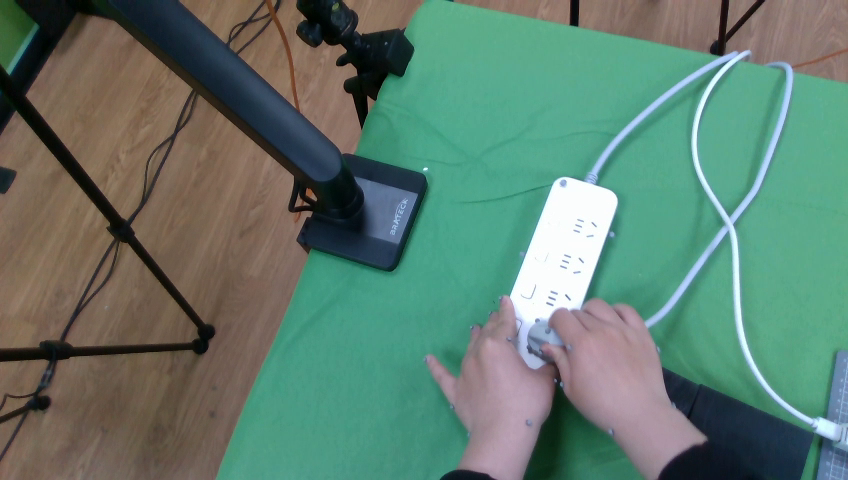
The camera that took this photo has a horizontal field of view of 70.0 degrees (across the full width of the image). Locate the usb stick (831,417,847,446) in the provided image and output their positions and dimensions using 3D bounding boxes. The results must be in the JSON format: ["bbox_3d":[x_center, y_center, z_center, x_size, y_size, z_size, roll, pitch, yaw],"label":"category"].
[{"bbox_3d":[0.401,0.180,0.540,0.059,0.027,0.021,21,72,8],"label":"usb stick"}]

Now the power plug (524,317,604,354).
[{"bbox_3d":[0.129,0.102,0.583,0.072,0.053,0.035,35,77,17],"label":"power plug"}]

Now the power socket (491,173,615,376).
[{"bbox_3d":[0.135,0.031,0.629,0.072,0.033,0.226,20,73,12],"label":"power socket"}]
